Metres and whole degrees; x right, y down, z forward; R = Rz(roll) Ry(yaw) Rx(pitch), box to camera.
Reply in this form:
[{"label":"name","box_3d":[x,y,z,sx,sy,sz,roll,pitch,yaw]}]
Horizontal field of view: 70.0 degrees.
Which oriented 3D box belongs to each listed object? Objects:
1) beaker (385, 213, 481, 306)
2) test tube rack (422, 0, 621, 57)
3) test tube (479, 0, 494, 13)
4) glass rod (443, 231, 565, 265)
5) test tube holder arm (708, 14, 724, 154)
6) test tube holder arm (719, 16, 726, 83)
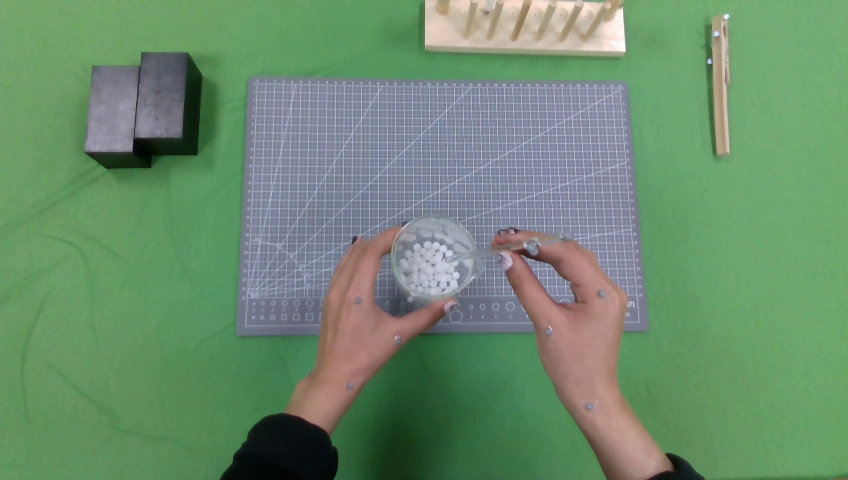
[{"label":"beaker","box_3d":[0.006,0.023,0.564,0.084,0.100,0.073,12,79,-1]},{"label":"test tube rack","box_3d":[0.120,-0.268,0.704,0.242,0.085,0.066,1,77,-3]},{"label":"test tube","box_3d":[0.085,-0.296,0.658,0.017,0.150,0.017,2,75,-9]},{"label":"glass rod","box_3d":[0.052,0.009,0.463,0.008,0.199,0.008,2,82,-19]},{"label":"test tube holder arm","box_3d":[0.353,-0.190,0.732,0.013,0.015,0.177,12,76,-31]},{"label":"test tube holder arm","box_3d":[0.362,-0.233,0.745,0.010,0.015,0.087,13,76,-30]}]
